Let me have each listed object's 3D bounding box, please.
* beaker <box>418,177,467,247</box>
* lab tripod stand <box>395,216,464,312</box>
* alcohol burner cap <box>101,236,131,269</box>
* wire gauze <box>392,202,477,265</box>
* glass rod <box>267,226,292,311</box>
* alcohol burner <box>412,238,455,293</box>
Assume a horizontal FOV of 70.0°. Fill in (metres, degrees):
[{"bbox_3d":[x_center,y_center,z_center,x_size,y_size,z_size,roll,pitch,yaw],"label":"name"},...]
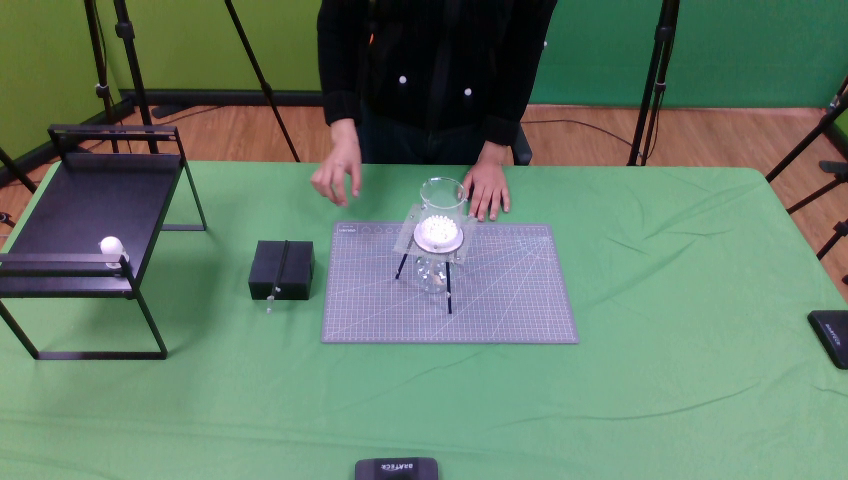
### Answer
[{"bbox_3d":[0.026,-0.045,1.004,0.074,0.101,0.083,-20,51,-22],"label":"beaker"},{"bbox_3d":[0.023,0.037,1.084,0.148,0.132,0.147,4,47,-4],"label":"lab tripod stand"},{"bbox_3d":[-0.452,0.016,0.883,0.034,0.048,0.033,2,47,-1],"label":"alcohol burner cap"},{"bbox_3d":[0.021,-0.011,1.037,0.121,0.011,0.124,13,49,8],"label":"wire gauze"},{"bbox_3d":[-0.256,0.047,1.076,0.008,0.008,0.198,4,46,-1],"label":"glass rod"},{"bbox_3d":[0.019,0.040,1.094,0.078,0.119,0.077,4,45,-3],"label":"alcohol burner"}]
